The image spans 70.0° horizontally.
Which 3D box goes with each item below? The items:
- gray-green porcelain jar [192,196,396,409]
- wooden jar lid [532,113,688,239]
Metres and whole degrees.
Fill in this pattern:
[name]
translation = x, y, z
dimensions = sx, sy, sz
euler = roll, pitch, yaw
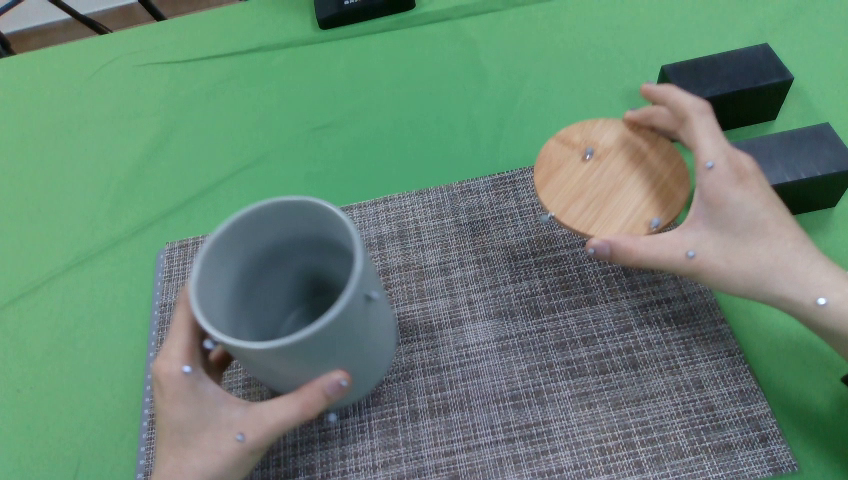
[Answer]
[gray-green porcelain jar]
translation = -0.077, 0.049, 0.409
dimensions = 0.106, 0.128, 0.105
euler = -4, 56, 7
[wooden jar lid]
translation = 0.132, -0.045, 0.438
dimensions = 0.108, 0.021, 0.107
euler = -2, 61, 5
